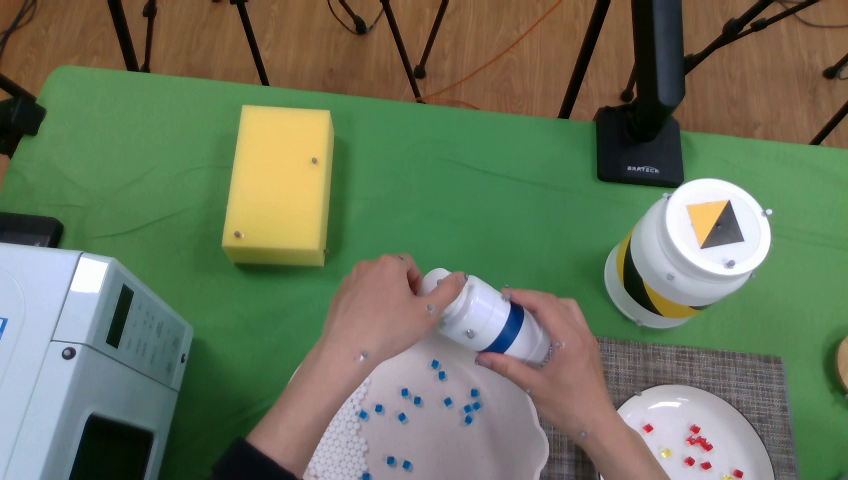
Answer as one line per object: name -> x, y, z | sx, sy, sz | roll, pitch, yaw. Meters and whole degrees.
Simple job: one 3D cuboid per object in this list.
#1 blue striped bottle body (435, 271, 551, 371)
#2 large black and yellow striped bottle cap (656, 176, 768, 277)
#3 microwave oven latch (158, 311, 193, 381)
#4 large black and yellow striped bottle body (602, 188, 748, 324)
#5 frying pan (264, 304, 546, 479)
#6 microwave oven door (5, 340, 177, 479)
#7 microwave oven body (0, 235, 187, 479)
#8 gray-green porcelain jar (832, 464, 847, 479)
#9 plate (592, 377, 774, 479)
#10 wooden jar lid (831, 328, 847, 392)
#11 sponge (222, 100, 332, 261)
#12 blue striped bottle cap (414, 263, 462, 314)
blue striped bottle body -> 0.057, 0.073, 0.577 | 0.122, 0.063, 0.063 | 32, 66, -21
large black and yellow striped bottle cap -> 0.309, -0.016, 0.650 | 0.115, 0.019, 0.114 | 1, 67, -2
microwave oven latch -> -0.293, 0.123, 0.708 | 0.030, 0.029, 0.078 | 9, 68, 0
large black and yellow striped bottle body -> 0.305, 0.016, 0.730 | 0.131, 0.185, 0.130 | 1, 67, -3
frying pan -> -0.029, 0.309, 0.631 | 0.307, 0.103, 0.483 | 5, 60, 1
microwave oven door -> -0.313, 0.285, 0.531 | 0.039, 0.245, 0.353 | 6, 67, -1
microwave oven body -> -0.454, 0.232, 0.550 | 0.326, 0.261, 0.438 | 7, 68, -1
gray-green porcelain jar -> 0.525, 0.294, 0.663 | 0.106, 0.127, 0.105 | 1, 68, -3
plate -> 0.295, 0.266, 0.704 | 0.209, 0.038, 0.207 | 1, 68, -3
wooden jar lid -> 0.574, 0.162, 0.777 | 0.108, 0.021, 0.107 | 1, 69, -2
sponge -> -0.190, -0.079, 0.802 | 0.118, 0.061, 0.205 | 1, 69, -3
blue striped bottle cap -> 0.012, 0.044, 0.555 | 0.021, 0.044, 0.044 | 33, 62, -37
